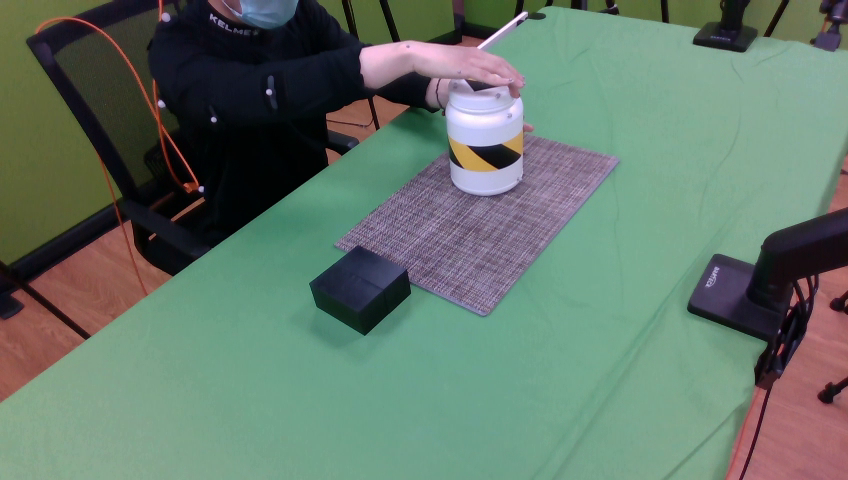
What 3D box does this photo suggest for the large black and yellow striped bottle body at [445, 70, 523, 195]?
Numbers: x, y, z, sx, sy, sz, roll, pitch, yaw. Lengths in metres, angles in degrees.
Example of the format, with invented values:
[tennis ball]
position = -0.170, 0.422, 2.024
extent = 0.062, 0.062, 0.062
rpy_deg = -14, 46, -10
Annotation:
[large black and yellow striped bottle body]
position = 0.105, -0.185, 1.037
extent = 0.131, 0.185, 0.130
rpy_deg = -4, 41, 4

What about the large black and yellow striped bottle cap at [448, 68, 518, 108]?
[large black and yellow striped bottle cap]
position = 0.096, -0.248, 0.983
extent = 0.115, 0.019, 0.114
rpy_deg = -3, 40, 3
